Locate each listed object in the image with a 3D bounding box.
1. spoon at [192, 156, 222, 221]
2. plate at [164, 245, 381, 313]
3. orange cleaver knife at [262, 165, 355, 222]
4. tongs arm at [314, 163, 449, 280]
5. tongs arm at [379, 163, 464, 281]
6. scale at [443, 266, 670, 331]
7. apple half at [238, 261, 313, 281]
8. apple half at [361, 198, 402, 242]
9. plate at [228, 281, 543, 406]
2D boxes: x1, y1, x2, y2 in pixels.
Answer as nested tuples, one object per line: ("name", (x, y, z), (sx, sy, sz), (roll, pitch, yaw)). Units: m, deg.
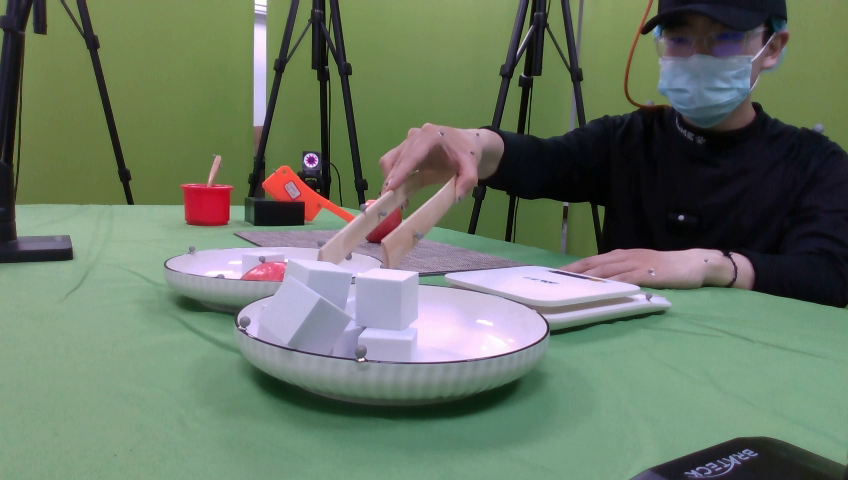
("spoon", (-0.430, -0.108, 1.222), (0.041, 0.021, 0.193), (-1, 52, 0))
("plate", (-0.145, 0.038, 0.600), (0.209, 0.038, 0.209), (2, 8, 0))
("orange cleaver knife", (-0.243, -0.081, 1.292), (0.212, 0.077, 0.012), (34, -8, -26))
("tongs arm", (-0.023, -0.035, 0.623), (0.050, 0.026, 0.385), (-2, 16, 11))
("tongs arm", (0.007, -0.035, 0.616), (0.028, 0.028, 0.388), (-5, 15, 14))
("scale", (0.131, 0.052, 0.603), (0.202, 0.031, 0.148), (-2, 9, -37))
("apple half", (-0.141, 0.036, 0.578), (0.081, 0.033, 0.081), (2, 11, 0))
("apple half", (-0.066, -0.032, 1.014), (0.053, 0.074, 0.081), (9, 6, 21))
("plate", (-0.025, 0.067, 0.413), (0.208, 0.039, 0.207), (3, 7, 0))
